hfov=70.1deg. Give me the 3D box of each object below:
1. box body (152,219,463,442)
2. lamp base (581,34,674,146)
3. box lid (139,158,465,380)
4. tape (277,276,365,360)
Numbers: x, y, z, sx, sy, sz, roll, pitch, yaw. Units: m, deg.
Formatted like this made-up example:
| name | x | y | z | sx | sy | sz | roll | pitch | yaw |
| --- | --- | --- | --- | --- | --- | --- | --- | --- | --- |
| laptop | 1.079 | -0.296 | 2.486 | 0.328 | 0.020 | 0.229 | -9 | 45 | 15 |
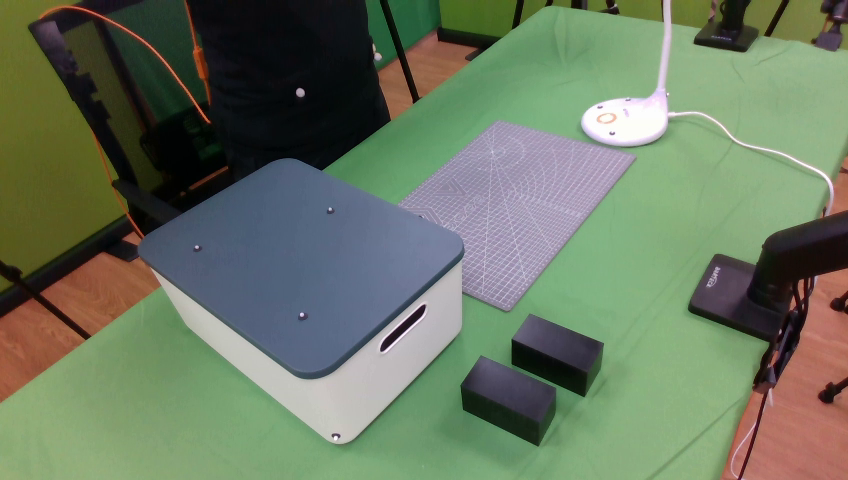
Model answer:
| name | x | y | z | sx | sy | sz | roll | pitch | yaw |
| --- | --- | --- | --- | --- | --- | --- | --- | --- | --- |
| box body | -0.152 | 0.064 | 0.807 | 0.361 | 0.161 | 0.255 | 26 | 51 | 33 |
| lamp base | 0.392 | -0.291 | 1.129 | 0.180 | 0.181 | 0.159 | -11 | 41 | -8 |
| box lid | -0.158 | 0.010 | 0.757 | 0.368 | 0.015 | 0.264 | 26 | 50 | 33 |
| tape | -0.140 | 0.106 | 0.832 | 0.117 | 0.053 | 0.116 | -4 | 41 | 4 |
